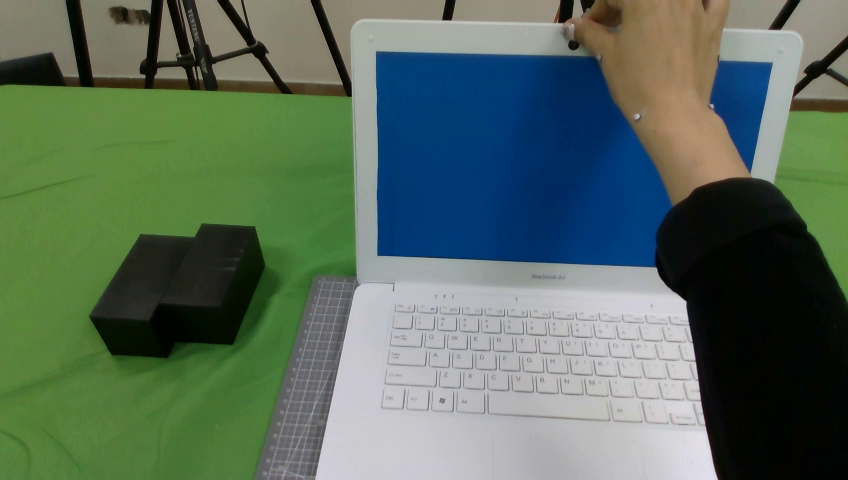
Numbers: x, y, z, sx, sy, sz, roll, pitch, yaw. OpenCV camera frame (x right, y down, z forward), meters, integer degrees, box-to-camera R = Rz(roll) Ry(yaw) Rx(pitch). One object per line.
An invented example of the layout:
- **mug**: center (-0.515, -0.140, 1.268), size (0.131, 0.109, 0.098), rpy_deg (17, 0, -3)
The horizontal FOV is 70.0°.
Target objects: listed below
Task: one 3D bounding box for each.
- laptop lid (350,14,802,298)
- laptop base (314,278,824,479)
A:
- **laptop lid**: center (0.114, -0.061, 0.511), size (0.356, 0.243, 0.013), rpy_deg (1, 20, 3)
- **laptop base**: center (0.104, 0.128, 0.467), size (0.354, 0.023, 0.233), rpy_deg (2, 46, 2)
